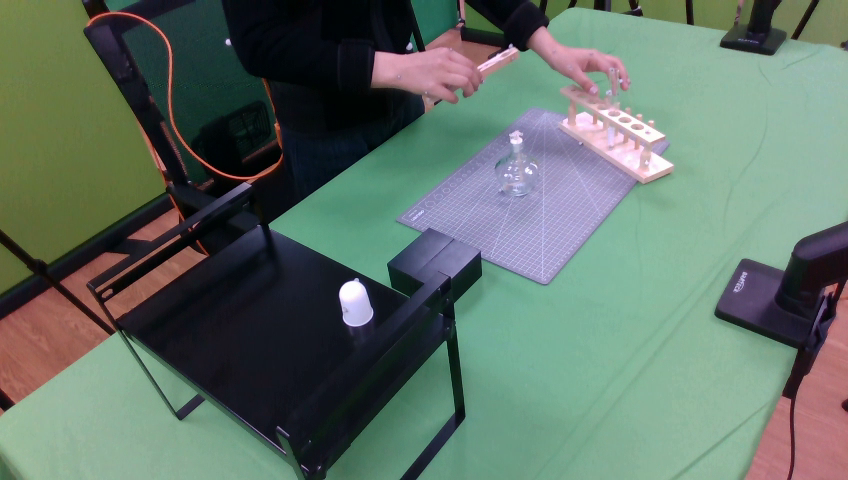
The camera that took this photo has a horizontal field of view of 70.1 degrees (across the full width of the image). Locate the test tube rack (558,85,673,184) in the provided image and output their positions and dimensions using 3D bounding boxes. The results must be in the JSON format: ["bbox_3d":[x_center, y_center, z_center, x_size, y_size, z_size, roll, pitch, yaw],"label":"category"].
[{"bbox_3d":[0.347,-0.203,1.109,0.067,0.085,0.240,-22,42,-17],"label":"test tube rack"}]

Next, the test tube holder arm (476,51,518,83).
[{"bbox_3d":[0.119,-0.287,1.003,0.088,0.015,0.010,-33,54,-15],"label":"test tube holder arm"}]

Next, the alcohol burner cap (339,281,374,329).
[{"bbox_3d":[-0.071,0.063,0.617,0.034,0.048,0.033,-4,39,4],"label":"alcohol burner cap"}]

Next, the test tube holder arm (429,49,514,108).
[{"bbox_3d":[0.080,-0.266,0.994,0.179,0.015,0.013,-35,55,-16],"label":"test tube holder arm"}]

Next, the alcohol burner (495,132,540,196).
[{"bbox_3d":[0.160,-0.135,1.035,0.078,0.119,0.077,-5,42,5],"label":"alcohol burner"}]

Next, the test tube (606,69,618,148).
[{"bbox_3d":[0.330,-0.228,1.064,0.017,0.151,0.017,-7,39,6],"label":"test tube"}]
